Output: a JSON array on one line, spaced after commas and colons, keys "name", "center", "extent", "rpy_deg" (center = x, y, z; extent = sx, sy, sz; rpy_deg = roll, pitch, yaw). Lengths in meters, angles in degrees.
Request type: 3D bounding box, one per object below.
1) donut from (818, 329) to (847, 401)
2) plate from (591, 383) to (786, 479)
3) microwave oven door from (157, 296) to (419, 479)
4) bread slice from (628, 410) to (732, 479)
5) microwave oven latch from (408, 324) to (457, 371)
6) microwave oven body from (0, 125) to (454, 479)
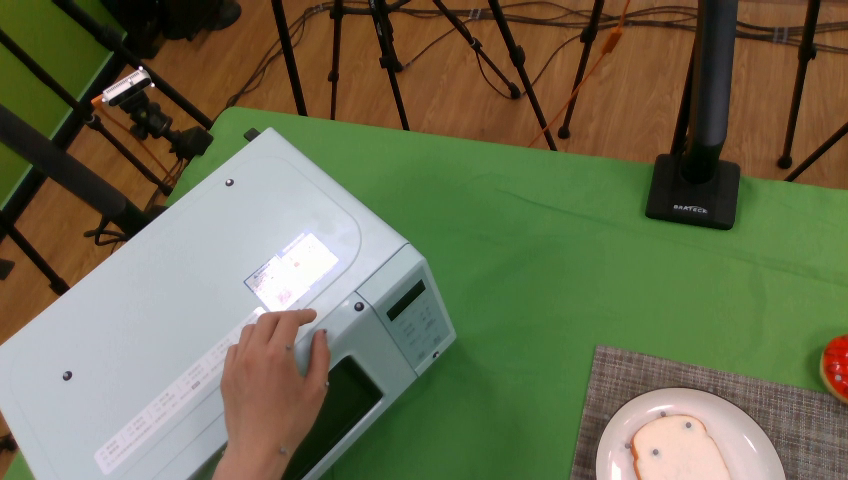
[{"name": "donut", "center": [0.525, 0.151, 0.720], "extent": [0.099, 0.049, 0.098], "rpy_deg": [-8, 55, 11]}, {"name": "plate", "center": [0.300, 0.272, 0.702], "extent": [0.207, 0.039, 0.206], "rpy_deg": [-5, 60, 9]}, {"name": "microwave oven door", "center": [-0.166, 0.236, 0.691], "extent": [0.355, 0.246, 0.039], "rpy_deg": [-44, 60, -13]}, {"name": "bread slice", "center": [0.299, 0.266, 0.707], "extent": [0.105, 0.019, 0.130], "rpy_deg": [-16, 58, 2]}, {"name": "microwave oven latch", "center": [0.010, 0.141, 0.827], "extent": [0.079, 0.030, 0.030], "rpy_deg": [-42, 61, -12]}, {"name": "microwave oven body", "center": [-0.235, 0.130, 0.774], "extent": [0.441, 0.263, 0.323], "rpy_deg": [-44, 61, -13]}]
